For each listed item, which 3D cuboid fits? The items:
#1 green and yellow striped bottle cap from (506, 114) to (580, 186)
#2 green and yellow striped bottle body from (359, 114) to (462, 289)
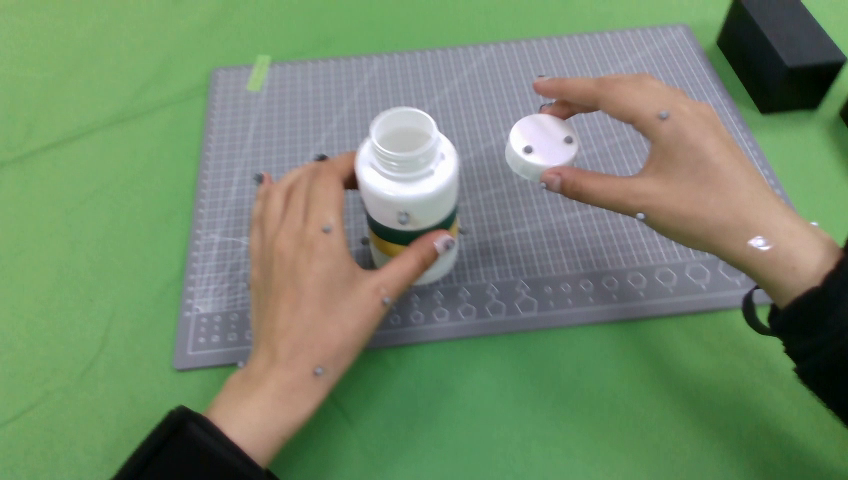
[{"bbox_3d":[0.074,-0.057,0.377,0.045,0.020,0.045,2,60,-3],"label":"green and yellow striped bottle cap"},{"bbox_3d":[-0.007,-0.024,0.391,0.063,0.121,0.062,-1,55,2],"label":"green and yellow striped bottle body"}]
